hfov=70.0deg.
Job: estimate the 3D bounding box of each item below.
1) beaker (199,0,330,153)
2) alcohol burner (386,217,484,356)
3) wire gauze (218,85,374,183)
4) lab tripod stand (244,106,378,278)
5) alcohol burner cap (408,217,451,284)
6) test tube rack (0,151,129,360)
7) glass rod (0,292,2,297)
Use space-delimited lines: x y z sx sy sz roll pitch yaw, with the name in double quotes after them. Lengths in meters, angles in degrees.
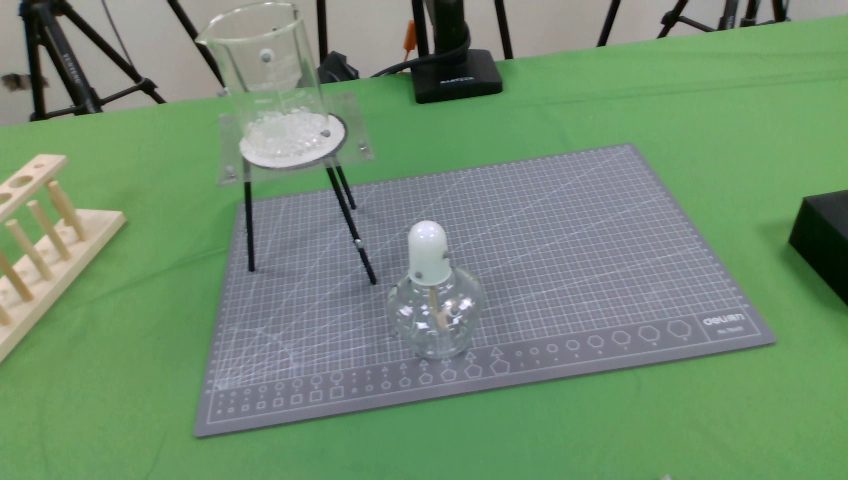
-0.119 -0.126 0.475 0.084 0.101 0.073 -13 41 -5 "beaker"
0.007 0.032 0.466 0.078 0.120 0.077 -5 39 4 "alcohol burner"
-0.110 -0.090 0.508 0.125 0.011 0.120 -14 39 -4 "wire gauze"
-0.104 -0.041 0.551 0.148 0.133 0.147 -4 43 4 "lab tripod stand"
0.003 0.006 0.442 0.034 0.048 0.033 -2 39 2 "alcohol burner cap"
-0.388 0.019 0.564 0.066 0.086 0.240 4 42 13 "test tube rack"
-0.423 -0.027 0.520 0.008 0.201 0.008 -8 35 6 "glass rod"
